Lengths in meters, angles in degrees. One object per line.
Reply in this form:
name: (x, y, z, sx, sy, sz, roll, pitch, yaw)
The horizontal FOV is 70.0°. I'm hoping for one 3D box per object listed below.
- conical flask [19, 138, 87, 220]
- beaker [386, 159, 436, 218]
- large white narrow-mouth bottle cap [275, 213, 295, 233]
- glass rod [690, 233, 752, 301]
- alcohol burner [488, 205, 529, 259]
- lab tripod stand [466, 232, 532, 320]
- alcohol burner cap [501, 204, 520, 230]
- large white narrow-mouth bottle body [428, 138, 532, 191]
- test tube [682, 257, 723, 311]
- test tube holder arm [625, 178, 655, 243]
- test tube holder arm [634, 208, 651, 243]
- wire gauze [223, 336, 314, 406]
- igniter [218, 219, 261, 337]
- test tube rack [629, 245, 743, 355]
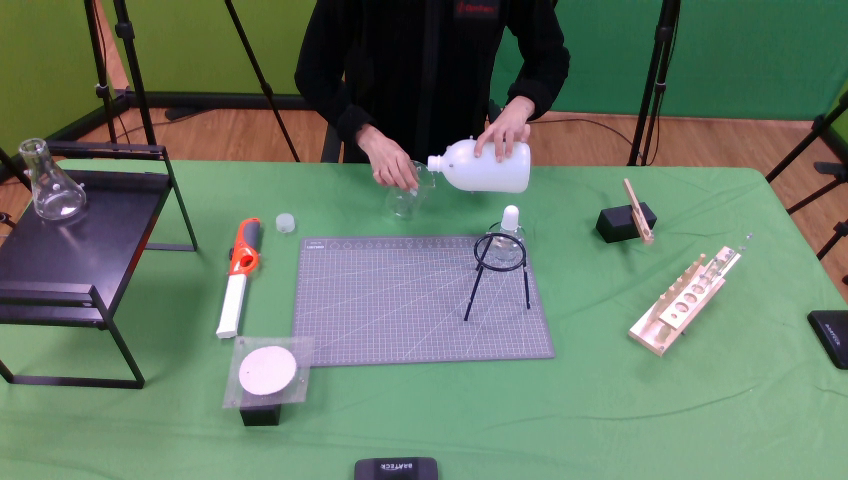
conical flask: (-0.576, -0.097, 0.930, 0.075, 0.122, 0.075, 2, 46, -2)
beaker: (-0.028, -0.100, 1.219, 0.084, 0.100, 0.074, 31, 42, 1)
large white narrow-mouth bottle cap: (-0.277, -0.034, 1.213, 0.038, 0.024, 0.037, 3, 46, -3)
glass rod: (0.507, 0.053, 1.041, 0.008, 0.200, 0.008, 5, 51, -6)
alcohol burner: (0.163, -0.020, 1.158, 0.078, 0.120, 0.077, 0, 47, 0)
lab tripod stand: (0.125, 0.059, 1.065, 0.148, 0.132, 0.147, 1, 45, 0)
alcohol burner cap: (0.164, -0.046, 1.133, 0.034, 0.048, 0.033, 2, 40, -1)
large white narrow-mouth bottle body: (0.104, -0.146, 1.165, 0.195, 0.102, 0.101, 2, 46, 2)
test tube: (0.475, 0.080, 1.037, 0.017, 0.151, 0.017, 1, 51, -1)
test tube holder arm: (0.433, -0.062, 1.220, 0.013, 0.015, 0.177, 1, 47, -3)
test tube holder arm: (0.428, -0.030, 1.189, 0.010, 0.015, 0.087, 1, 47, -2)
wire gauze: (-0.237, 0.197, 0.931, 0.121, 0.011, 0.124, 1, 45, -4)
igniter: (-0.336, 0.059, 1.111, 0.057, 0.025, 0.274, -8, 46, 3)
test tube rack: (0.474, 0.095, 1.091, 0.242, 0.085, 0.066, -34, 56, -31)
